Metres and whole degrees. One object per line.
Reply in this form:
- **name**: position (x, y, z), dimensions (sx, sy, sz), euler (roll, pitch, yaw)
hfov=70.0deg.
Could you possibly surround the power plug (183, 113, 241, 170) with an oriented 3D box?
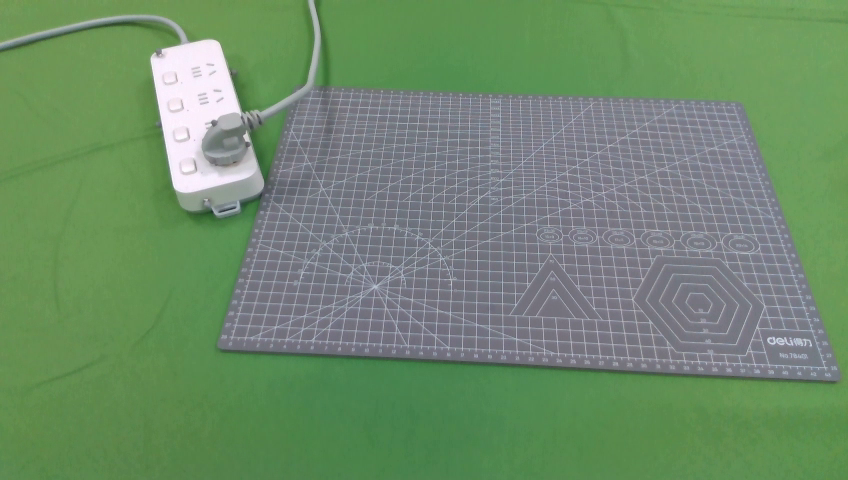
- **power plug**: position (-0.191, -0.085, 0.521), dimensions (0.072, 0.035, 0.052), euler (-2, 55, 26)

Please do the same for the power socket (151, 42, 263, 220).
- **power socket**: position (-0.207, -0.112, 0.570), dimensions (0.072, 0.033, 0.224), euler (-16, 55, -13)
